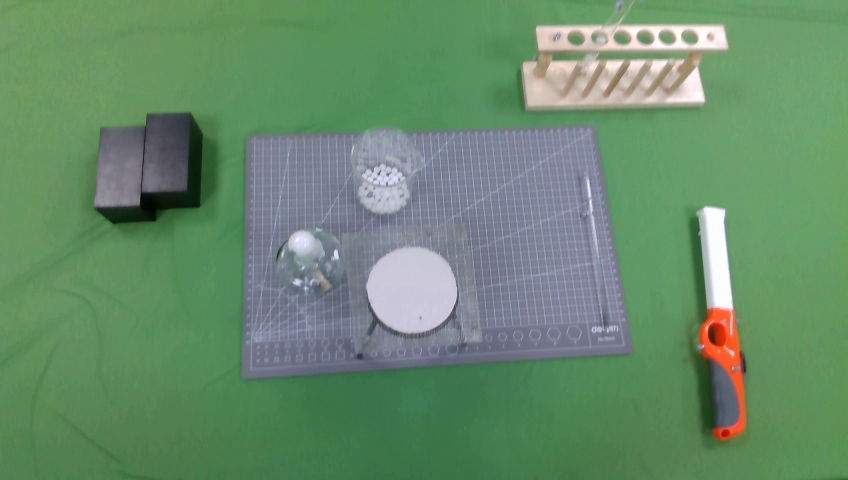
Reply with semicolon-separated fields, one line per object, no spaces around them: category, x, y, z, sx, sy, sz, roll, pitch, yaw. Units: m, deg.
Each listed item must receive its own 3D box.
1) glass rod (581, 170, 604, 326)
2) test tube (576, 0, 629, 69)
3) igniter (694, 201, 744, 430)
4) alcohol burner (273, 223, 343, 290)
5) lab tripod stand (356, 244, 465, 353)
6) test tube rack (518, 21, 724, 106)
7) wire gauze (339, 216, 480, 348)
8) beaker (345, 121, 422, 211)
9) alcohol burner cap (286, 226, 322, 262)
glass rod;0.208;0.007;0.746;0.008;0.008;0.198;-2;76;-5
test tube;0.217;-0.257;0.739;0.017;0.151;0.017;3;71;-9
igniter;0.351;0.085;0.726;0.057;0.025;0.275;7;72;-13
alcohol burner;-0.129;0.012;0.662;0.078;0.120;0.077;1;70;-3
lab tripod stand;-0.018;0.062;0.645;0.148;0.132;0.147;1;72;-2
test tube rack;0.253;-0.228;0.785;0.243;0.085;0.066;-3;72;-5
wire gauze;-0.015;0.038;0.582;0.125;0.011;0.120;-6;72;-6
beaker;-0.047;-0.081;0.705;0.084;0.100;0.073;6;72;-3
alcohol burner cap;-0.126;0.002;0.627;0.034;0.048;0.033;0;77;1
